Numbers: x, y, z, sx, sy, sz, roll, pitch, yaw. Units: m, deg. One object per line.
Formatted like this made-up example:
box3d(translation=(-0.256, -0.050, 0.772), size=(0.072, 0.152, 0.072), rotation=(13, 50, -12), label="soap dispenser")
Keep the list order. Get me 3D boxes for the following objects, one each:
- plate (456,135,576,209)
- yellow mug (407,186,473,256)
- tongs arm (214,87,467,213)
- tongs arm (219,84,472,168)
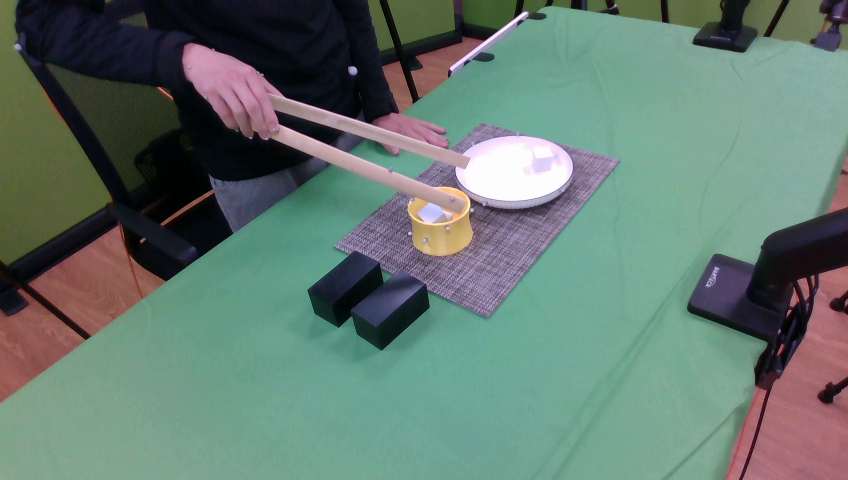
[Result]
box3d(translation=(0.161, -0.116, 1.064), size=(0.207, 0.039, 0.206), rotation=(-4, 40, 4), label="plate")
box3d(translation=(0.020, -0.041, 0.973), size=(0.100, 0.064, 0.129), rotation=(-18, 41, -13), label="yellow mug")
box3d(translation=(-0.119, -0.127, 0.861), size=(0.385, 0.026, 0.050), rotation=(20, 39, -5), label="tongs arm")
box3d(translation=(-0.111, -0.169, 0.917), size=(0.389, 0.028, 0.028), rotation=(14, 43, -13), label="tongs arm")
